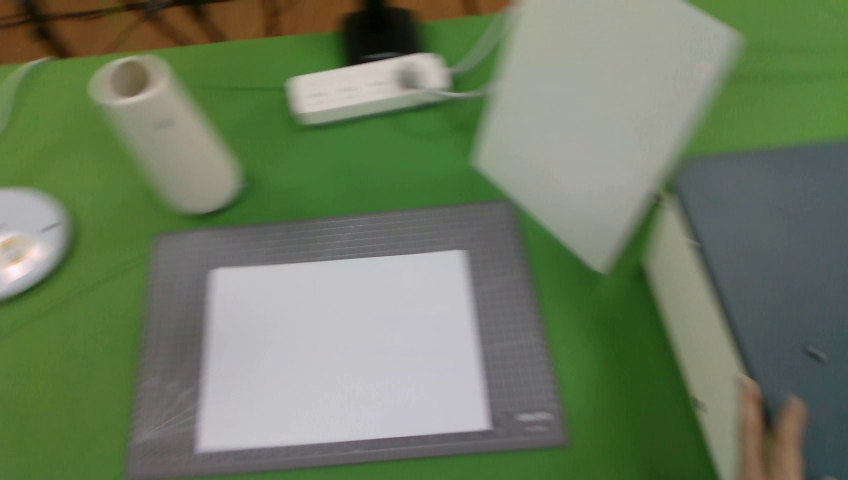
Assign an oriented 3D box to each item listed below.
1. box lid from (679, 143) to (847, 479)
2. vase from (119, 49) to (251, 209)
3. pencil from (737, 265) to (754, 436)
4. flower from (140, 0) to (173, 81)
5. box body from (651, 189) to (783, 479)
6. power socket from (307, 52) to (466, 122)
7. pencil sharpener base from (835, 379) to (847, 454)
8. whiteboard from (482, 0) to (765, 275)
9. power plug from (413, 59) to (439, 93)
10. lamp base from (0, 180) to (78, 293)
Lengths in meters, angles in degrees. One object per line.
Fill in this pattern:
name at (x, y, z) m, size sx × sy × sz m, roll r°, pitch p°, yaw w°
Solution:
box lid at (0.386, 0.069, 0.499) m, size 0.263 × 0.015 × 0.368 m, roll -6°, pitch 61°, yaw -1°
vase at (-0.273, -0.122, 0.702) m, size 0.098 × 0.202 × 0.097 m, roll -2°, pitch 59°, yaw 3°
pencil at (0.342, 0.112, 0.645) m, size 0.012 × 0.012 × 0.193 m, roll 13°, pitch 64°, yaw 10°
flower at (-0.272, -0.180, 0.640) m, size 0.038 × 0.365 × 0.043 m, roll -16°, pitch 42°, yaw -15°
box body at (0.389, 0.108, 0.563) m, size 0.254 × 0.162 × 0.360 m, roll -6°, pitch 60°, yaw -1°
power socket at (-0.052, -0.213, 0.842) m, size 0.227 × 0.033 × 0.071 m, roll -10°, pitch 61°, yaw -4°
pencil sharpener base at (0.436, 0.161, 0.554) m, size 0.061 × 0.108 × 0.076 m, roll 14°, pitch 62°, yaw 9°
whiteboard at (0.227, -0.153, 0.674) m, size 0.144 × 0.307 × 0.215 m, roll -24°, pitch 59°, yaw -33°
power plug at (0.003, -0.210, 0.811) m, size 0.035 × 0.053 × 0.072 m, roll -1°, pitch 61°, yaw 2°
lamp base at (-0.523, -0.050, 0.681) m, size 0.178 × 0.182 × 0.160 m, roll 24°, pitch 63°, yaw 19°
